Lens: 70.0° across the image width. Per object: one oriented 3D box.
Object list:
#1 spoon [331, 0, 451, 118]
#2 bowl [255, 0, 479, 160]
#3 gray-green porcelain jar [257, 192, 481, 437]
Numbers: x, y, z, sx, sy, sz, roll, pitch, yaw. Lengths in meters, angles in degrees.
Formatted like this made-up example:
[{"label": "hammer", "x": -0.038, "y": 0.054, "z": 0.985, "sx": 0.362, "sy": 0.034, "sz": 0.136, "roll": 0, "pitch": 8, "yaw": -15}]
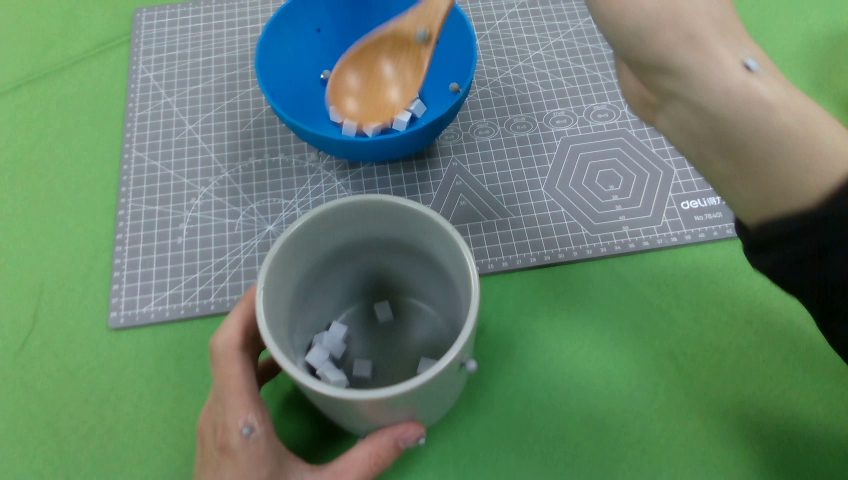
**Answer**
[{"label": "spoon", "x": 0.025, "y": -0.134, "z": 0.283, "sx": 0.041, "sy": 0.021, "sz": 0.194, "roll": 46, "pitch": 108, "yaw": 5}, {"label": "bowl", "x": -0.037, "y": -0.111, "z": 0.441, "sx": 0.151, "sy": 0.077, "sz": 0.150, "roll": 0, "pitch": 63, "yaw": 1}, {"label": "gray-green porcelain jar", "x": -0.024, "y": 0.050, "z": 0.338, "sx": 0.106, "sy": 0.127, "sz": 0.105, "roll": -1, "pitch": 63, "yaw": 2}]
